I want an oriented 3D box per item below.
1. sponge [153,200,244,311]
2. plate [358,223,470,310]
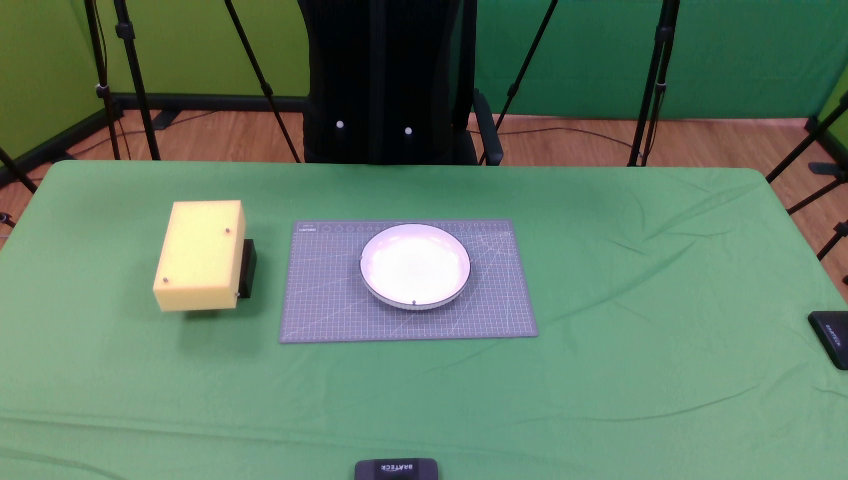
[{"bbox_3d":[-0.384,0.022,1.051,0.118,0.061,0.205,-3,47,-7],"label":"sponge"},{"bbox_3d":[-0.019,0.052,1.132,0.209,0.038,0.208,2,46,-2],"label":"plate"}]
